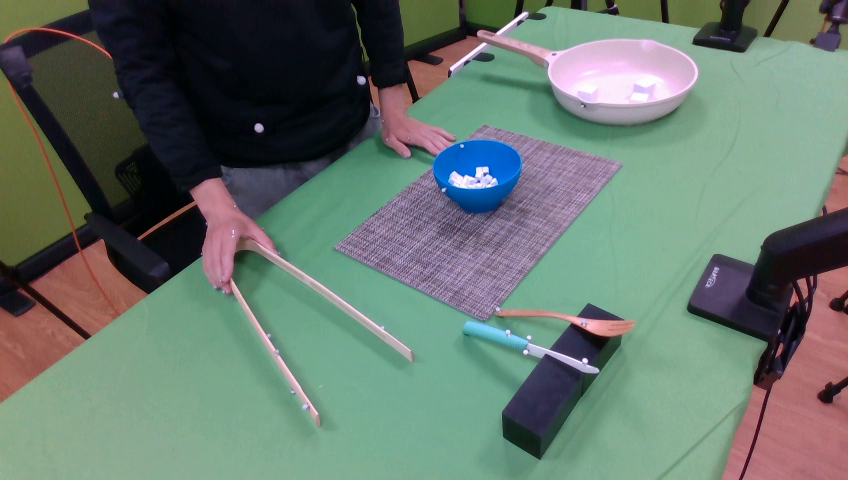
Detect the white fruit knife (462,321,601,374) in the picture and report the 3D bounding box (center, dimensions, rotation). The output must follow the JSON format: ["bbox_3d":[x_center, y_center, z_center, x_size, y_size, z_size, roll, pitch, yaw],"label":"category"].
[{"bbox_3d":[0.126,0.132,0.752,0.205,0.027,0.016,12,47,42],"label":"white fruit knife"}]

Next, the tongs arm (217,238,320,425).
[{"bbox_3d":[-0.220,0.111,0.853,0.051,0.026,0.381,-28,46,-24],"label":"tongs arm"}]

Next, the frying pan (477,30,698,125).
[{"bbox_3d":[0.321,-0.371,1.290,0.484,0.103,0.308,29,51,24],"label":"frying pan"}]

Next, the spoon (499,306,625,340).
[{"bbox_3d":[0.169,0.102,0.773,0.042,0.021,0.192,-10,14,-38],"label":"spoon"}]

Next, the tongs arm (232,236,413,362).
[{"bbox_3d":[-0.159,0.077,0.890,0.384,0.028,0.028,28,55,32],"label":"tongs arm"}]

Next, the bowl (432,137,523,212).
[{"bbox_3d":[0.091,-0.100,1.022,0.151,0.077,0.150,-4,41,4],"label":"bowl"}]
